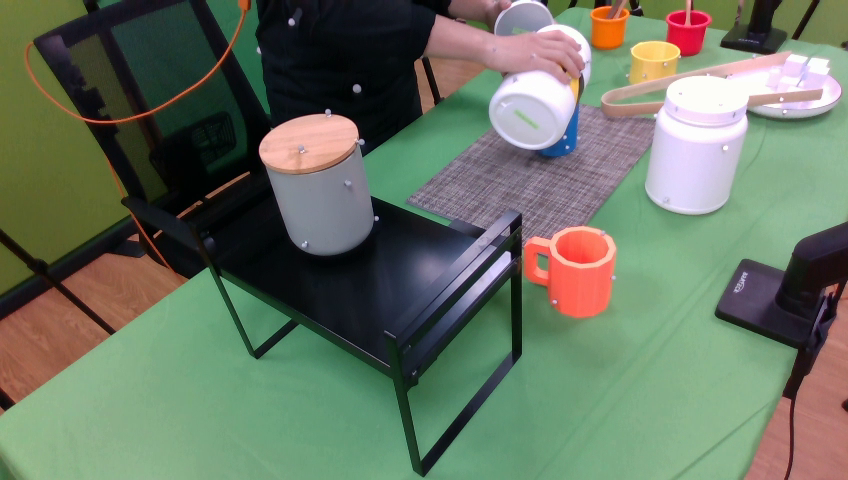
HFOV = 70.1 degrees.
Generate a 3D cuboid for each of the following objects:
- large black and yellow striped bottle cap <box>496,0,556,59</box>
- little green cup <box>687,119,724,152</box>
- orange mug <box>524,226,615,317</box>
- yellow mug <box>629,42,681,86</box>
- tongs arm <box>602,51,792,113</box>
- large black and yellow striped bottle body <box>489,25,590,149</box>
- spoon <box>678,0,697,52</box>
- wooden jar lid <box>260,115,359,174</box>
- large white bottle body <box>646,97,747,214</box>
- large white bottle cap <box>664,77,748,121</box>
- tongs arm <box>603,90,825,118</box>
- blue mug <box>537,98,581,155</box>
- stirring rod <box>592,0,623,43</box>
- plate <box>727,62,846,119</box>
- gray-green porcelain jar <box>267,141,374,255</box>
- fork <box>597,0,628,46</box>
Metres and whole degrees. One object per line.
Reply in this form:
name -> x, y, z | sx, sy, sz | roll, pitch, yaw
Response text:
large black and yellow striped bottle cap -> 0.197, -0.406, 1.172 | 0.115, 0.115, 0.018 | -4, 42, 4
little green cup -> 0.514, -0.191, 1.109 | 0.061, 0.039, 0.061 | -5, 40, 5
orange mug -> 0.201, 0.039, 0.845 | 0.125, 0.101, 0.083 | 18, 47, 21
yellow mug -> 0.495, -0.389, 1.321 | 0.100, 0.064, 0.130 | -14, 40, -6
tongs arm -> 0.552, -0.320, 1.224 | 0.384, 0.027, 0.050 | -10, 44, 7
large black and yellow striped bottle body -> 0.199, -0.258, 1.009 | 0.130, 0.131, 0.184 | 15, 59, 24
spoon -> 0.614, -0.526, 1.402 | 0.041, 0.022, 0.193 | 3, 86, 11
wooden jar lid -> -0.124, -0.101, 0.662 | 0.108, 0.021, 0.108 | -4, 41, 4
large white bottle body -> 0.431, -0.148, 0.959 | 0.130, 0.185, 0.130 | -4, 41, 4
large white bottle cap -> 0.421, -0.212, 0.905 | 0.115, 0.018, 0.114 | -4, 40, 4
tongs arm -> 0.546, -0.262, 1.163 | 0.386, 0.028, 0.028 | -1, 49, 18
blue mug -> 0.233, -0.219, 1.127 | 0.117, 0.106, 0.081 | -22, 43, -16
stirring rod -> 0.460, -0.557, 1.461 | 0.014, 0.176, 0.006 | 35, 11, 22
plate -> 0.709, -0.292, 1.197 | 0.207, 0.039, 0.206 | -4, 40, 4
gray-green porcelain jar -> -0.117, -0.054, 0.703 | 0.106, 0.127, 0.105 | -4, 40, 4
fork -> 0.479, -0.558, 1.455 | 0.028, 0.019, 0.207 | 35, 100, 38
